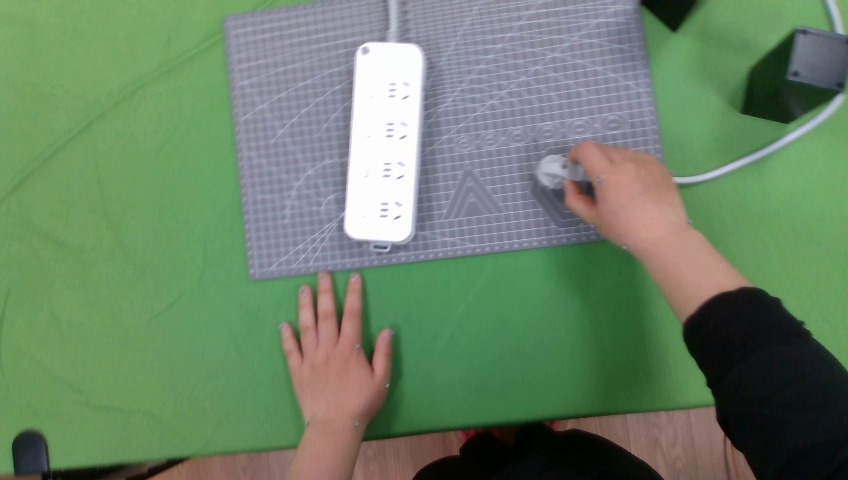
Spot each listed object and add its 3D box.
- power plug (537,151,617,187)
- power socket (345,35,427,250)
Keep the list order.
[{"bbox_3d":[0.148,-0.064,0.611,0.073,0.052,0.035,26,85,-8],"label":"power plug"},{"bbox_3d":[-0.040,-0.103,0.635,0.072,0.032,0.226,4,86,5],"label":"power socket"}]
